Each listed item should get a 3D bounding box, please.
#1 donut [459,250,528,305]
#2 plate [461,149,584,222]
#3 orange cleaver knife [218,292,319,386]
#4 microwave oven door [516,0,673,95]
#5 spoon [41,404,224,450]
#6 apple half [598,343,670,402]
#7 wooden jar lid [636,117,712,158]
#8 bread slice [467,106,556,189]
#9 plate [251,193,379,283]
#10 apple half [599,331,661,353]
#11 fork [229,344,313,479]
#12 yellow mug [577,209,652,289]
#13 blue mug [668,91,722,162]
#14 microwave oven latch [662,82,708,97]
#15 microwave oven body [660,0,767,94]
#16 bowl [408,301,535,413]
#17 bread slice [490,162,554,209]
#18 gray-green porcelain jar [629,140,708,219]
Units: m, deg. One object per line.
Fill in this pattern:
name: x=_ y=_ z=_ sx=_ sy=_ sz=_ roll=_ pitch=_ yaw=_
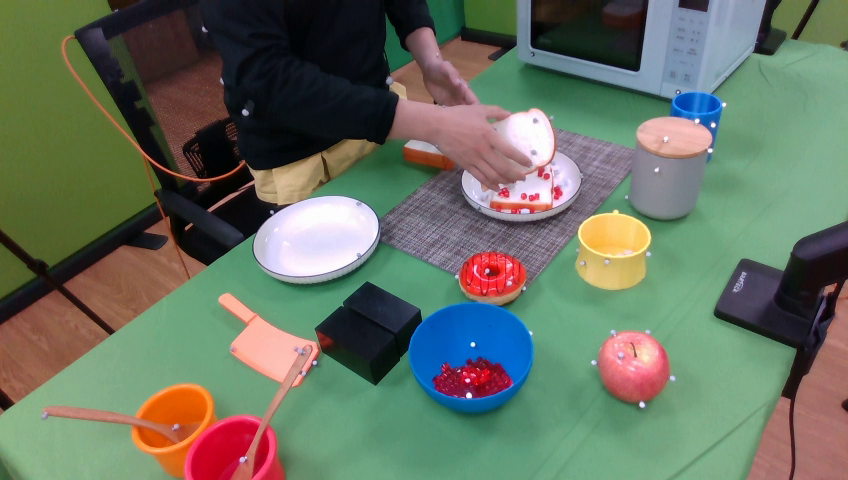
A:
donut: x=0.100 y=0.053 z=0.873 sx=0.099 sy=0.048 sz=0.098 roll=-5 pitch=41 yaw=5
plate: x=0.167 y=-0.095 z=1.040 sx=0.207 sy=0.039 sz=0.206 roll=-4 pitch=41 yaw=4
orange cleaver knife: x=-0.235 y=0.136 z=0.850 sx=0.209 sy=0.012 sz=0.077 roll=25 pitch=57 yaw=30
microwave oven door: x=0.344 y=-0.458 z=1.257 sx=0.353 sy=0.245 sz=0.039 roll=26 pitch=51 yaw=33
spoon: x=-0.321 y=0.206 z=0.681 sx=0.195 sy=0.021 sz=0.041 roll=27 pitch=27 yaw=-33
apple half: x=0.247 y=0.161 z=0.710 sx=0.081 sy=0.075 sz=0.053 roll=2 pitch=47 yaw=5
wooden jar lid: x=0.377 y=-0.151 z=0.917 sx=0.108 sy=0.021 sz=0.108 roll=-2 pitch=42 yaw=2
bread slice: x=0.139 y=-0.151 z=0.950 sx=0.134 sy=0.018 sz=0.106 roll=-20 pitch=78 yaw=23
plate: x=-0.174 y=-0.001 z=0.984 sx=0.209 sy=0.038 sz=0.208 roll=-4 pitch=41 yaw=4
apple half: x=0.249 y=0.134 z=0.738 sx=0.081 sy=0.081 sz=0.032 roll=-1 pitch=46 yaw=7
fork: x=-0.173 y=0.205 z=0.662 sx=0.028 sy=0.019 sz=0.207 roll=29 pitch=94 yaw=36
yellow mug: x=0.279 y=0.005 z=0.893 sx=0.099 sy=0.064 sz=0.130 roll=5 pitch=41 yaw=15
blue mug: x=0.474 y=-0.207 z=1.078 sx=0.082 sy=0.106 sz=0.116 roll=4 pitch=42 yaw=13
microwave oven latch: x=0.518 y=-0.298 z=1.202 sx=0.078 sy=0.029 sz=0.030 roll=28 pitch=53 yaw=35
microwave oven body: x=0.473 y=-0.516 z=1.313 sx=0.438 sy=0.261 sz=0.327 roll=26 pitch=51 yaw=34
bowl: x=0.060 y=0.156 z=0.739 sx=0.151 sy=0.077 sz=0.150 roll=-4 pitch=40 yaw=4
bread slice: x=0.173 y=-0.101 z=1.046 sx=0.104 sy=0.019 sz=0.131 roll=3 pitch=41 yaw=12
gray-green porcelain jar: x=0.383 y=-0.104 z=0.958 sx=0.106 sy=0.127 sz=0.105 roll=-4 pitch=41 yaw=4
